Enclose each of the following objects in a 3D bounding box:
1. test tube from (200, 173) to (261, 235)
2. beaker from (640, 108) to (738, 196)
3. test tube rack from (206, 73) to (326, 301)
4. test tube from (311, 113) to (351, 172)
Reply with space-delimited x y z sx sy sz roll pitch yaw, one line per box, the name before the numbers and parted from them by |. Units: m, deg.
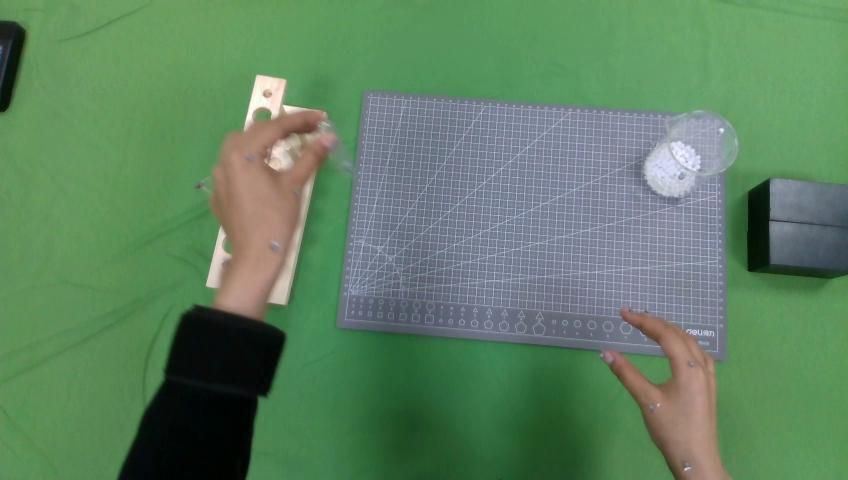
test tube | -0.201 -0.034 0.642 0.017 0.151 0.017 -1 72 2
beaker | 0.293 -0.097 0.691 0.083 0.100 0.074 36 80 9
test tube rack | -0.176 -0.058 0.696 0.067 0.085 0.241 9 79 2
test tube | -0.087 -0.090 0.582 0.017 0.151 0.017 0 82 1
